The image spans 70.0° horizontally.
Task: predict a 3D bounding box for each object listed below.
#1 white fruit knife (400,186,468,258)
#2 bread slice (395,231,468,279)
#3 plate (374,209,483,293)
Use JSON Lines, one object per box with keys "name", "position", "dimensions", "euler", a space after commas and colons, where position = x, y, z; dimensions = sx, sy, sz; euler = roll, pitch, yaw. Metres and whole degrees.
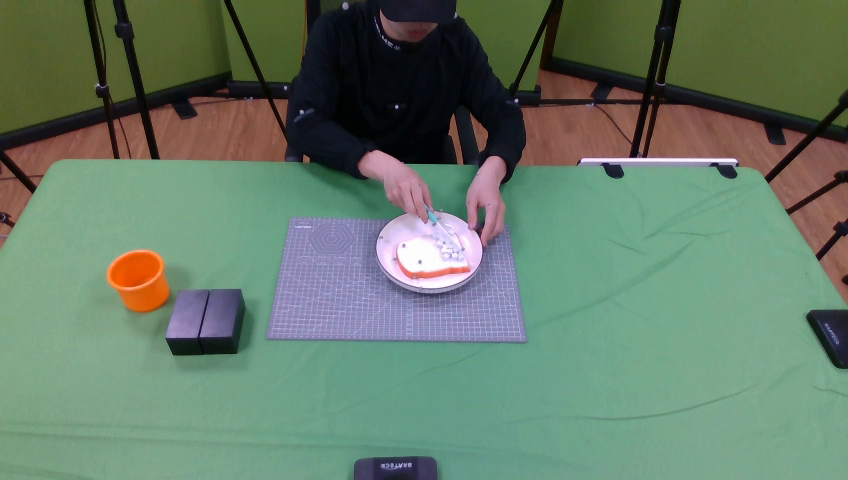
{"name": "white fruit knife", "position": [0.019, -0.037, 1.172], "dimensions": [0.016, 0.027, 0.206], "euler": [-36, 67, -15]}
{"name": "bread slice", "position": [0.011, 0.030, 1.158], "dimensions": [0.132, 0.019, 0.104], "euler": [-8, 47, -14]}
{"name": "plate", "position": [0.009, 0.024, 1.160], "dimensions": [0.209, 0.038, 0.208], "euler": [2, 46, -2]}
